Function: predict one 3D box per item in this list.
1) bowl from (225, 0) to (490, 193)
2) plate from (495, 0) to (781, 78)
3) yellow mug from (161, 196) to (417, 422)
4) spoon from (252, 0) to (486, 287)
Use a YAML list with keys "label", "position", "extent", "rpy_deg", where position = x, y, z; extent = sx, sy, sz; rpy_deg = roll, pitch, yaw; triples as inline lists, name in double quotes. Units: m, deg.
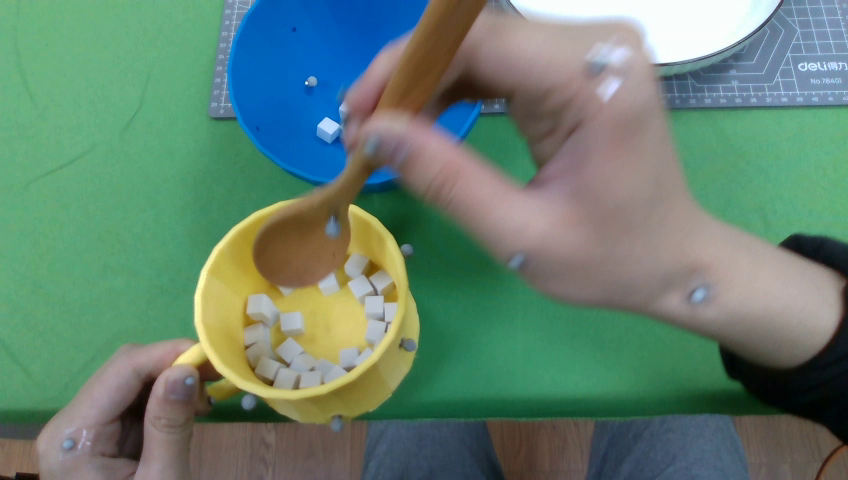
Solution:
- label: "bowl"
  position: [-0.035, -0.090, 0.377]
  extent: [0.151, 0.077, 0.150]
  rpy_deg: [-1, 74, 3]
- label: "plate"
  position: [0.143, -0.198, 0.425]
  extent: [0.209, 0.038, 0.207]
  rpy_deg: [-1, 71, 3]
- label: "yellow mug"
  position: [-0.069, 0.044, 0.304]
  extent: [0.131, 0.064, 0.099]
  rpy_deg: [-31, 67, -10]
- label: "spoon"
  position: [-0.022, -0.027, 0.207]
  extent: [0.042, 0.194, 0.021]
  rpy_deg: [9, 62, -24]
